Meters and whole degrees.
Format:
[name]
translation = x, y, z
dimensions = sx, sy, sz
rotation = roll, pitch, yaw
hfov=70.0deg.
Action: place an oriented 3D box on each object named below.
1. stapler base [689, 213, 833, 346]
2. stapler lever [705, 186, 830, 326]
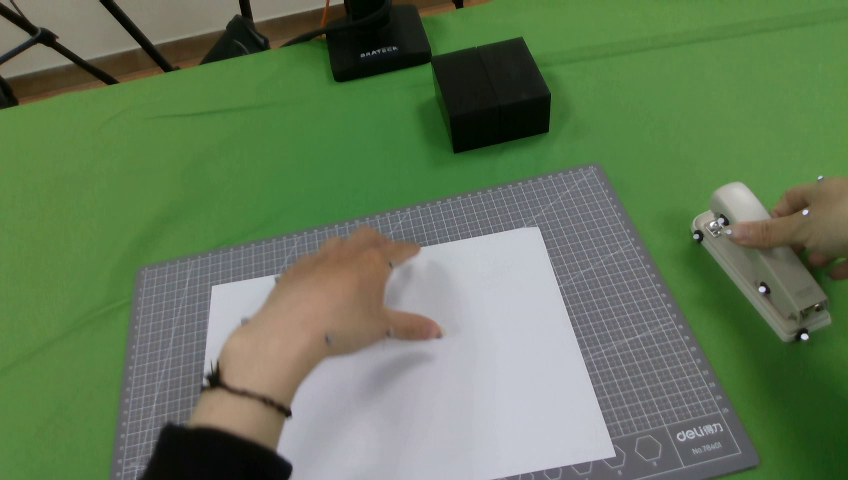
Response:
[stapler base]
translation = 0.264, 0.020, 0.482
dimensions = 0.041, 0.025, 0.129
rotation = -26, 54, 2
[stapler lever]
translation = 0.259, 0.007, 0.461
dimensions = 0.027, 0.040, 0.116
rotation = -26, 54, 2
